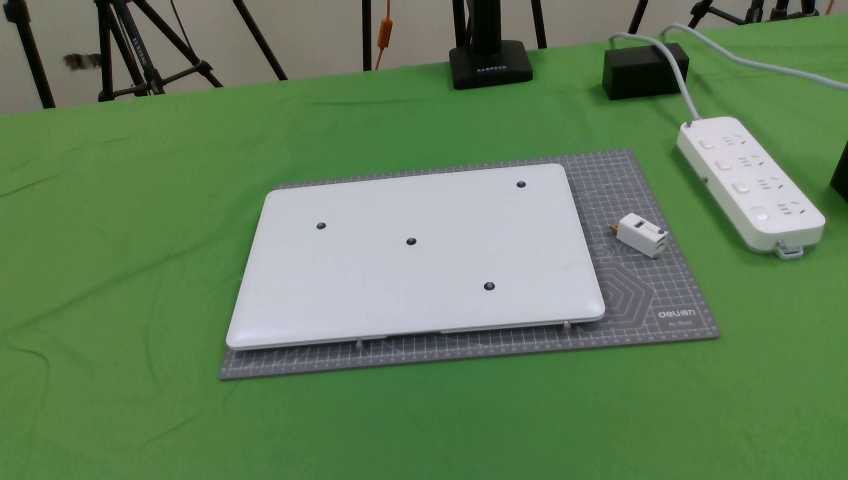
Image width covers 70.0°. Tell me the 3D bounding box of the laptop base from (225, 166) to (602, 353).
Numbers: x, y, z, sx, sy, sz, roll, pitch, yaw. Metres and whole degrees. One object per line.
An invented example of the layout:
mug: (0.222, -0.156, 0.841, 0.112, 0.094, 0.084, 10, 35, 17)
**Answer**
laptop base: (-0.015, 0.014, 0.640, 0.354, 0.023, 0.233, -6, 45, 3)

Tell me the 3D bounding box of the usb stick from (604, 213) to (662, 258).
usb stick: (0.211, -0.008, 0.619, 0.021, 0.027, 0.058, -32, 44, -25)

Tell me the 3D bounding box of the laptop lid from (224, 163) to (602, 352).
laptop lid: (-0.016, 0.007, 0.631, 0.356, 0.013, 0.239, -5, 44, 4)

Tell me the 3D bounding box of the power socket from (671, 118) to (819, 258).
power socket: (0.343, -0.068, 0.664, 0.072, 0.033, 0.224, -7, 41, 0)
